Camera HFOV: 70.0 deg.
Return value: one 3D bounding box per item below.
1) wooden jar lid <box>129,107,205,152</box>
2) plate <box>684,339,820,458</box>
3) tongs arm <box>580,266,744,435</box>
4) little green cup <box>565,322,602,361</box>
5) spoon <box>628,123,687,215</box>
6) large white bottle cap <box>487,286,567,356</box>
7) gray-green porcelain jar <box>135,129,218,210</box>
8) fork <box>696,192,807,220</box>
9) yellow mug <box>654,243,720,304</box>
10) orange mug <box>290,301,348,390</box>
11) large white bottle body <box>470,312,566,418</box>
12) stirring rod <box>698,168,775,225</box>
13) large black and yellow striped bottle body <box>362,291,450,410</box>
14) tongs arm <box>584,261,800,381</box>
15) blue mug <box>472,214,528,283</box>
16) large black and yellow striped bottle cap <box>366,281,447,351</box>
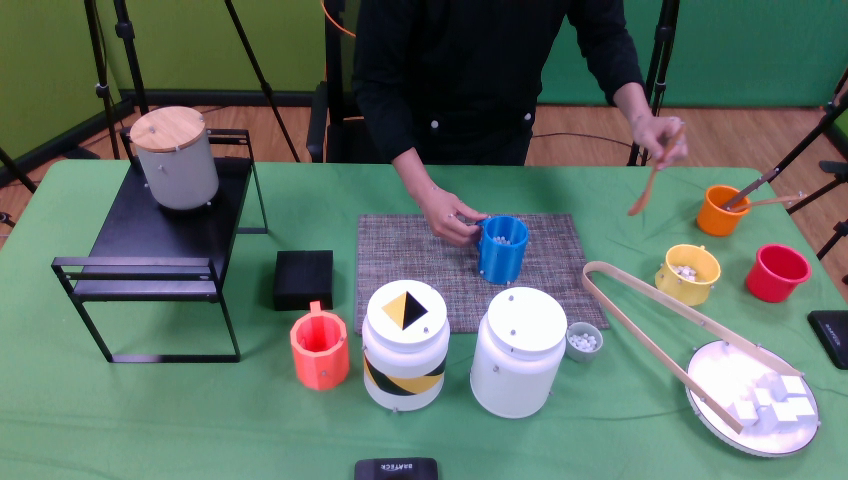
[{"bbox_3d":[-0.385,-0.163,0.914,0.108,0.021,0.107,2,47,-2],"label":"wooden jar lid"},{"bbox_3d":[0.523,0.256,0.982,0.208,0.039,0.206,2,46,-2],"label":"plate"},{"bbox_3d":[0.384,0.173,1.028,0.028,0.028,0.385,-25,46,-15],"label":"tongs arm"},{"bbox_3d":[0.270,0.176,1.039,0.061,0.039,0.061,2,46,-2],"label":"little green cup"},{"bbox_3d":[0.405,-0.120,1.056,0.021,0.194,0.041,21,40,8],"label":"spoon"},{"bbox_3d":[0.147,0.114,0.869,0.115,0.018,0.114,3,46,-3],"label":"large white bottle cap"},{"bbox_3d":[-0.388,-0.120,0.960,0.106,0.127,0.105,2,46,-2],"label":"gray-green porcelain jar"},{"bbox_3d":[0.655,-0.069,1.224,0.207,0.019,0.028,-17,33,45],"label":"fork"},{"bbox_3d":[0.504,0.054,1.154,0.099,0.064,0.130,28,50,22],"label":"yellow mug"},{"bbox_3d":[-0.170,0.162,0.976,0.083,0.101,0.125,-7,52,-11],"label":"orange mug"},{"bbox_3d":[0.143,0.173,0.930,0.131,0.185,0.130,2,46,-2],"label":"large white bottle body"},{"bbox_3d":[0.644,-0.090,1.252,0.176,0.006,0.014,-40,53,16],"label":"stirring rod"},{"bbox_3d":[-0.029,0.163,0.928,0.131,0.185,0.130,2,47,-2],"label":"large black and yellow striped bottle body"},{"bbox_3d":[0.452,0.137,1.064,0.051,0.027,0.382,-34,50,-27],"label":"tongs arm"},{"bbox_3d":[0.133,0.008,1.136,0.082,0.106,0.116,-33,56,-30],"label":"blue mug"},{"bbox_3d":[-0.025,0.106,0.866,0.115,0.019,0.114,2,46,-1],"label":"large black and yellow striped bottle cap"}]
